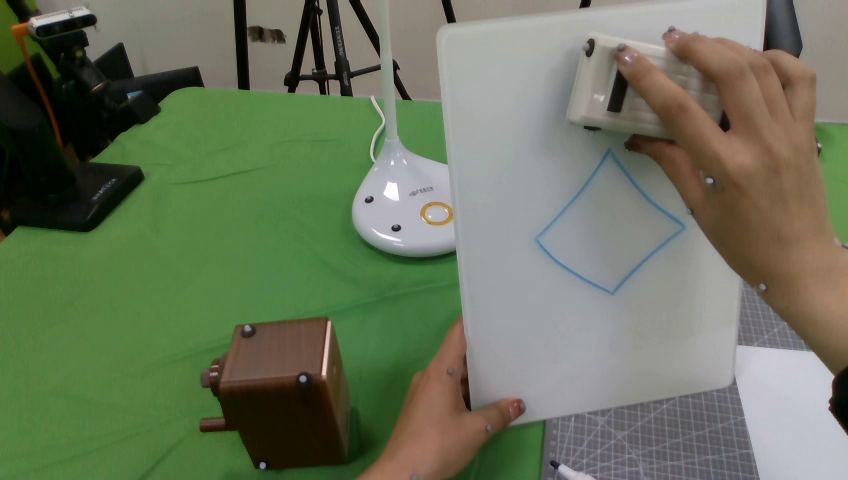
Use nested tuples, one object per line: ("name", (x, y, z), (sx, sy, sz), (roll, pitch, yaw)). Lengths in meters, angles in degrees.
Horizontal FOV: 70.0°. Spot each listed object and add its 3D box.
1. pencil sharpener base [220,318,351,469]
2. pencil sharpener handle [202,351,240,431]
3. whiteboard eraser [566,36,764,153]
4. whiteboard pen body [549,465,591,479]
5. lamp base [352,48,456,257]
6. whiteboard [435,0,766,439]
("pencil sharpener base", (-0.099, 0.116, 0.449), (0.077, 0.108, 0.060), (-5, 40, 0))
("pencil sharpener handle", (-0.151, 0.112, 0.438), (0.030, 0.068, 0.035), (-5, 28, 0))
("whiteboard eraser", (0.148, -0.089, 0.379), (0.113, 0.056, 0.041), (7, 20, -10))
("whiteboard pen body", (0.145, 0.190, 0.407), (0.139, 0.017, 0.017), (25, 48, 33))
("lamp base", (-0.014, -0.101, 0.644), (0.161, 0.182, 0.177), (-27, 43, -25))
("whiteboard", (0.122, -0.025, 0.491), (0.217, 0.307, 0.143), (-8, 21, -4))
